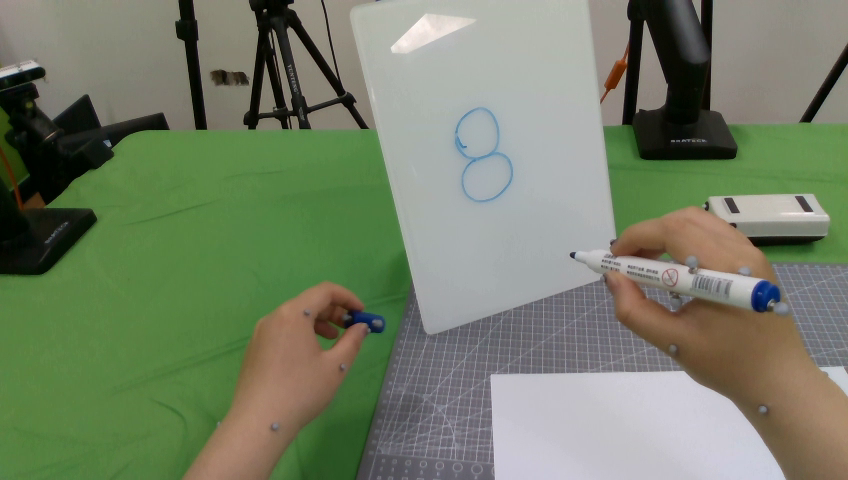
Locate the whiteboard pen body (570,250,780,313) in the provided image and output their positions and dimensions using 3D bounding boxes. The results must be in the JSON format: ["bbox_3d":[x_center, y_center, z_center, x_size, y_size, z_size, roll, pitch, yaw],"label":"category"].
[{"bbox_3d":[0.128,0.019,0.336,0.017,0.017,0.140,-24,17,-22],"label":"whiteboard pen body"}]

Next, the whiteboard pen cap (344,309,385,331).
[{"bbox_3d":[-0.048,0.067,0.501,0.033,0.018,0.018,13,22,-39],"label":"whiteboard pen cap"}]

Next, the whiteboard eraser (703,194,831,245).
[{"bbox_3d":[0.365,-0.022,0.650,0.112,0.042,0.055,0,40,7],"label":"whiteboard eraser"}]

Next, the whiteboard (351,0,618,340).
[{"bbox_3d":[0.055,-0.092,0.620,0.217,0.307,0.143,-16,18,-11],"label":"whiteboard"}]
